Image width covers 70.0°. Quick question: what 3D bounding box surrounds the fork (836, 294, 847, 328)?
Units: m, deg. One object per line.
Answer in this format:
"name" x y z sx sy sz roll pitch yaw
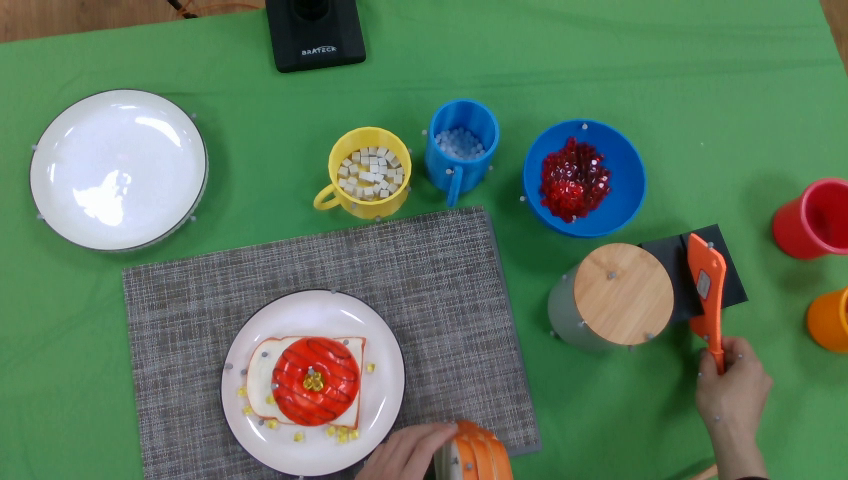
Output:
"fork" 0.499 0.115 0.705 0.028 0.018 0.207 52 35 2

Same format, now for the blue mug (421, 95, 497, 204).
"blue mug" 0.038 -0.101 0.742 0.082 0.106 0.116 10 76 -2

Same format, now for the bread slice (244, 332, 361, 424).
"bread slice" -0.141 0.158 0.702 0.132 0.019 0.104 3 76 -8

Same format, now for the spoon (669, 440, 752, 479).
"spoon" 0.311 0.281 0.717 0.194 0.022 0.041 -21 61 -9

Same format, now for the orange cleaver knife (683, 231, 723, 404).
"orange cleaver knife" 0.335 0.094 0.731 0.012 0.076 0.212 -12 106 -6

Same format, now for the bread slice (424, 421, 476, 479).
"bread slice" 0.027 0.249 0.645 0.018 0.134 0.106 -3 76 -15

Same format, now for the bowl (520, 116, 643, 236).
"bowl" 0.187 -0.070 0.761 0.151 0.077 0.150 1 77 -4

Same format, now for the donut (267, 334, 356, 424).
"donut" -0.124 0.153 0.672 0.099 0.048 0.098 2 79 -7

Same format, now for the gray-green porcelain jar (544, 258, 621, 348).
"gray-green porcelain jar" 0.202 0.070 0.704 0.106 0.127 0.105 1 76 -4

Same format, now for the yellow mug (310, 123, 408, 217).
"yellow mug" -0.083 -0.077 0.747 0.131 0.064 0.099 -32 80 -9

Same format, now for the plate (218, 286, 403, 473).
"plate" -0.127 0.157 0.700 0.209 0.038 0.208 1 77 -4

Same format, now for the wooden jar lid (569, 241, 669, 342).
"wooden jar lid" 0.205 0.055 0.644 0.108 0.021 0.108 1 79 -7

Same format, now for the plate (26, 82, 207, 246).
"plate" -0.369 -0.090 0.742 0.208 0.039 0.206 1 77 -4
